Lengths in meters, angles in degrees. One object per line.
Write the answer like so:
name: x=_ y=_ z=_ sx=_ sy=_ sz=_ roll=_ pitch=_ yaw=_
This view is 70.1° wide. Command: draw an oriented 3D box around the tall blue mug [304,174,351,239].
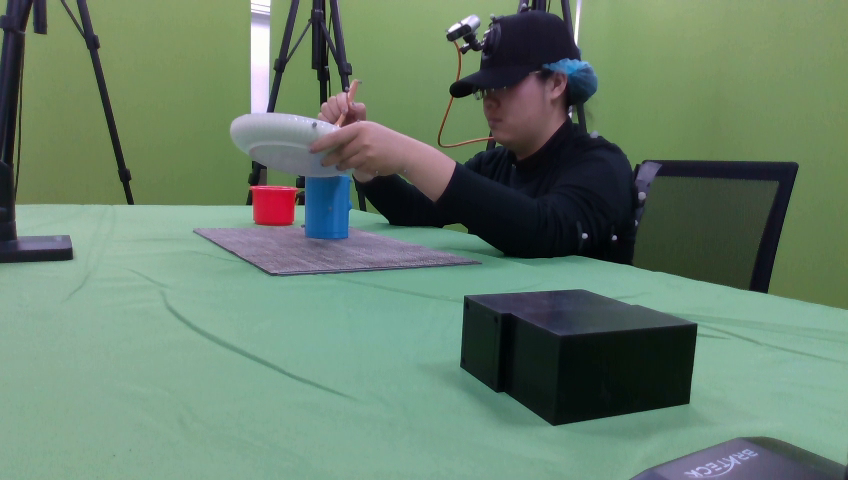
tall blue mug: x=-0.178 y=-0.062 z=1.062 sx=0.078 sy=0.108 sz=0.106 roll=-5 pitch=11 yaw=-38

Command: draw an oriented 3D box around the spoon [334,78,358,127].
spoon: x=-0.149 y=-0.226 z=1.089 sx=0.041 sy=0.022 sz=0.193 roll=-1 pitch=49 yaw=20

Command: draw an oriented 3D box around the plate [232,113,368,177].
plate: x=-0.193 y=-0.137 z=0.938 sx=0.208 sy=0.039 sz=0.208 roll=6 pitch=-11 yaw=2
